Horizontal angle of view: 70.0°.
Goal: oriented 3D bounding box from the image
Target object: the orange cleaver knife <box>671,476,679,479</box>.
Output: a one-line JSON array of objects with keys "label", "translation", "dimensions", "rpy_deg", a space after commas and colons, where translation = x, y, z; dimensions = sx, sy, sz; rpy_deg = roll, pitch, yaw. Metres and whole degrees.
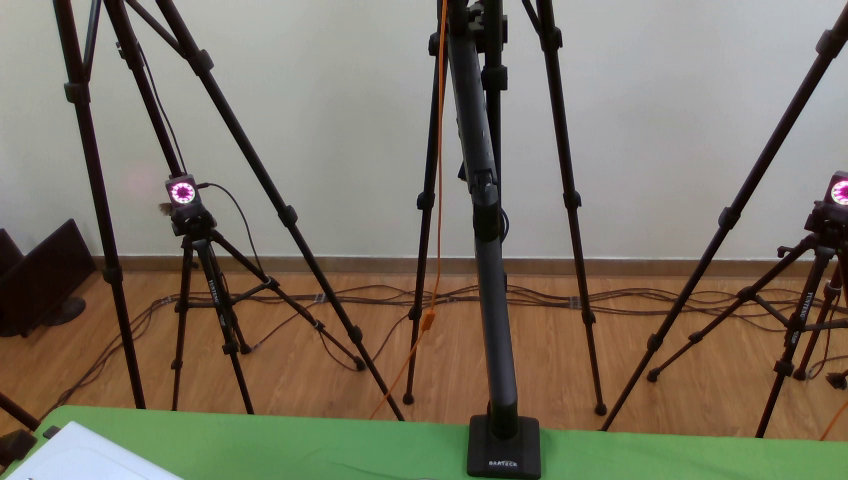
[{"label": "orange cleaver knife", "translation": [0.357, 0.426, 0.808], "dimensions": [0.012, 0.078, 0.209], "rpy_deg": [-3, 66, 3]}]

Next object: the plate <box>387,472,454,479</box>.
[{"label": "plate", "translation": [-0.009, 0.440, 0.881], "dimensions": [0.207, 0.039, 0.205], "rpy_deg": [-3, 37, 3]}]

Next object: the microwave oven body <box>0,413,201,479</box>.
[{"label": "microwave oven body", "translation": [-0.448, 0.480, 0.690], "dimensions": [0.324, 0.262, 0.440], "rpy_deg": [14, 42, 24]}]
